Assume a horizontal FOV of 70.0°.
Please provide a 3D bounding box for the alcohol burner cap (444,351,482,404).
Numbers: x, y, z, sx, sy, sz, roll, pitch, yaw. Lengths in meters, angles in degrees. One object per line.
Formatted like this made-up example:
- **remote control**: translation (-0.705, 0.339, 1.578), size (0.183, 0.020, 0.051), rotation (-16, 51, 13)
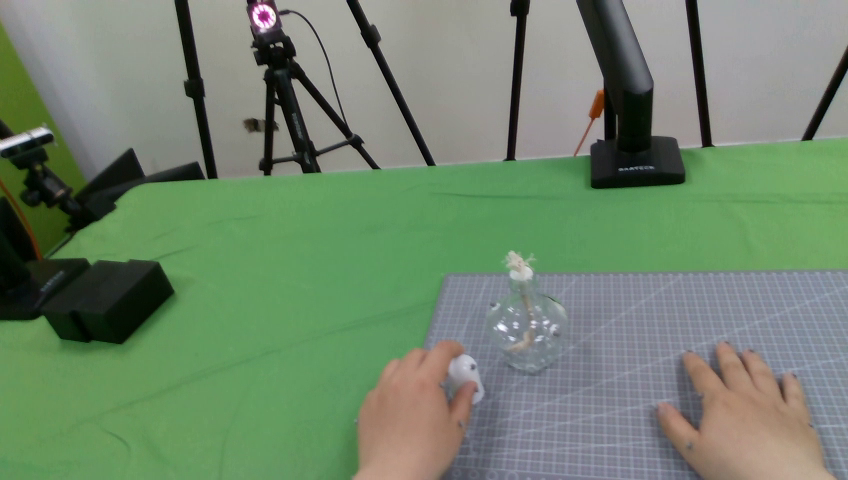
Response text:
- **alcohol burner cap**: translation (0.035, 0.123, 0.556), size (0.034, 0.048, 0.033), rotation (-8, 35, 6)

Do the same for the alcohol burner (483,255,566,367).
- **alcohol burner**: translation (0.092, 0.061, 0.564), size (0.078, 0.120, 0.077), rotation (-7, 36, 5)
